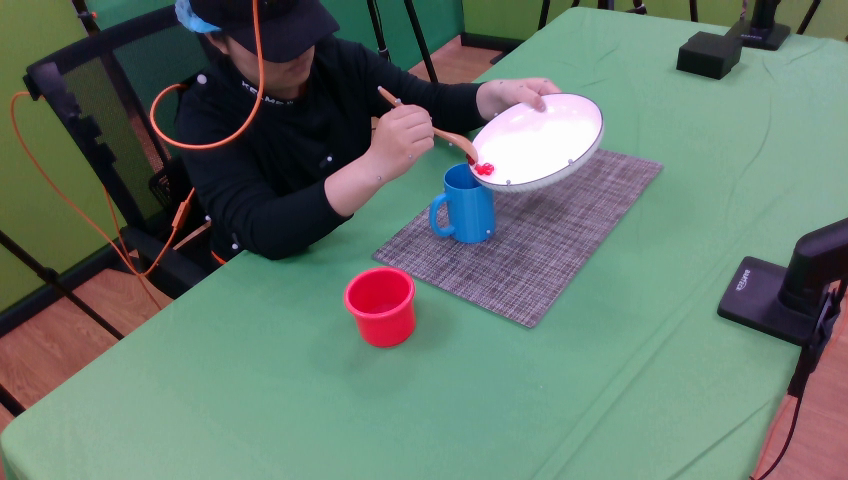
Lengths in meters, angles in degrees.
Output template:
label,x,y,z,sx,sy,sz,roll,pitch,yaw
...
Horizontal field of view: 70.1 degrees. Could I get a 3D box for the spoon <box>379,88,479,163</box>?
label,x,y,z,sx,sy,sz,roll,pitch,yaw
spoon,0.012,-0.167,0.890,0.195,0.021,0.041,26,33,-28

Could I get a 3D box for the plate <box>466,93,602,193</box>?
label,x,y,z,sx,sy,sz,roll,pitch,yaw
plate,0.166,-0.141,0.911,0.207,0.039,0.206,-18,41,17

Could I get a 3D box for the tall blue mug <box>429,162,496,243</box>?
label,x,y,z,sx,sy,sz,roll,pitch,yaw
tall blue mug,0.067,-0.051,0.960,0.077,0.108,0.107,17,47,27
